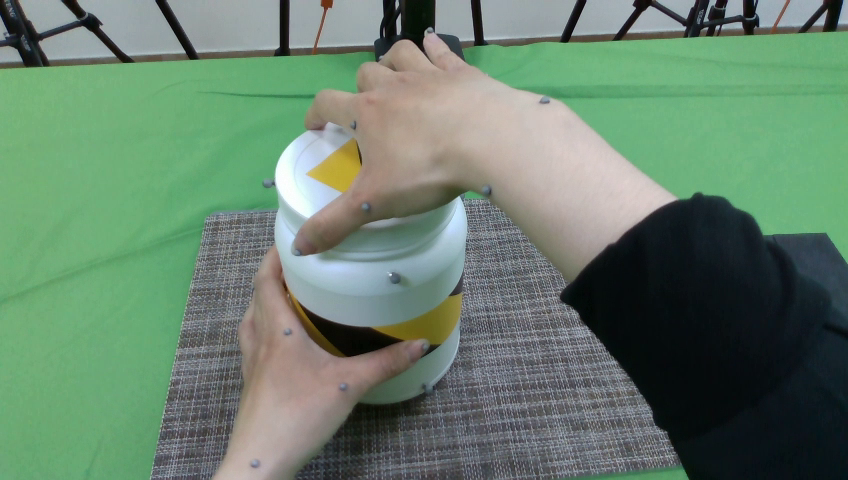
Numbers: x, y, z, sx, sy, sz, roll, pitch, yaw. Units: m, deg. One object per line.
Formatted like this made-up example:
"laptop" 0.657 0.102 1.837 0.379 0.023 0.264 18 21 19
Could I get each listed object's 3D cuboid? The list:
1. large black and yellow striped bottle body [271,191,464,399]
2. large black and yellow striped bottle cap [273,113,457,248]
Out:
"large black and yellow striped bottle body" -0.037 0.017 0.445 0.131 0.185 0.129 0 46 0
"large black and yellow striped bottle cap" -0.036 -0.042 0.383 0.115 0.019 0.114 0 46 0
